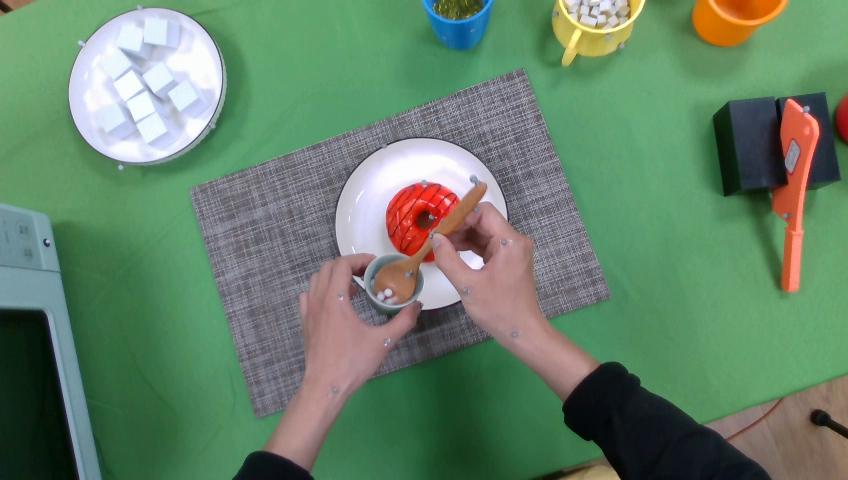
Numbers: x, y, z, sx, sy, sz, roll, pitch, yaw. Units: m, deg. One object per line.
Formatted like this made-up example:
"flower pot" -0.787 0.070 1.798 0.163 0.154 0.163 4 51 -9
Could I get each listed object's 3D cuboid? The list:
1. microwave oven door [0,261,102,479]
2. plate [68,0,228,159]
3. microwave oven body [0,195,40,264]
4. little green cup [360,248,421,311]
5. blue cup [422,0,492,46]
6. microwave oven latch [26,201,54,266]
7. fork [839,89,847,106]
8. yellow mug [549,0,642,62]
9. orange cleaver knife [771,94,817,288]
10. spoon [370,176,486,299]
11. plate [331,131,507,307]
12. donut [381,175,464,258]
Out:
"microwave oven door" -0.437 0.192 0.623 0.039 0.244 0.354 -17 82 3
"plate" -0.348 -0.202 0.777 0.207 0.039 0.207 -1 84 6
"microwave oven body" -0.588 0.192 0.642 0.326 0.261 0.440 -16 83 3
"little green cup" -0.035 0.043 0.627 0.061 0.039 0.061 4 61 -6
"blue cup" 0.040 -0.279 0.717 0.092 0.100 0.092 0 85 4
"microwave oven latch" -0.484 -0.006 0.750 0.030 0.029 0.079 -14 83 3
"fork" 0.548 -0.134 0.630 0.028 0.019 0.205 -49 39 -11
"yellow mug" 0.195 -0.270 0.718 0.100 0.064 0.131 29 88 7
"orange cleaver knife" 0.401 -0.051 0.667 0.012 0.076 0.213 -4 113 7
"spoon" 0.001 0.004 0.559 0.041 0.194 0.021 46 47 2
"plate" -0.005 -0.024 0.722 0.209 0.038 0.208 -1 84 5
"donut" -0.001 -0.028 0.710 0.099 0.048 0.099 -1 85 7
